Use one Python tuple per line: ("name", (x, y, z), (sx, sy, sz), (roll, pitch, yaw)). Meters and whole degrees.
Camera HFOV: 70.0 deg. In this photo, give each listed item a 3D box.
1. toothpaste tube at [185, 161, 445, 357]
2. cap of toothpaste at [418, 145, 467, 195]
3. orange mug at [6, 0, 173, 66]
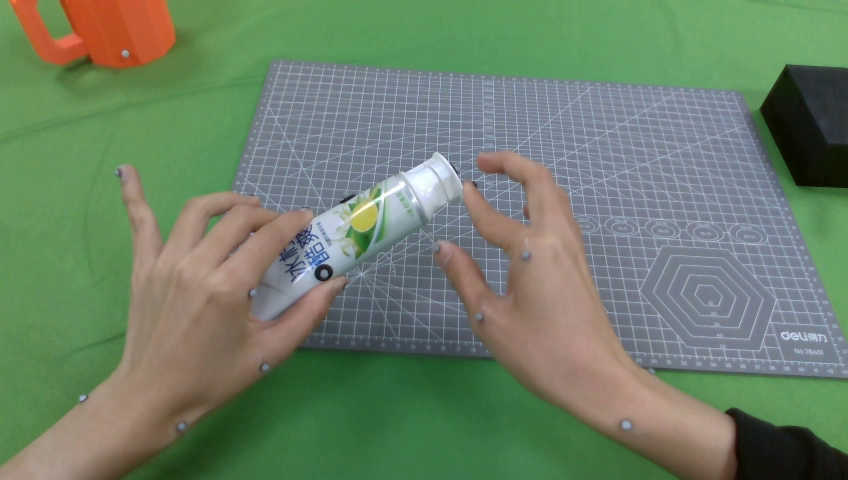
("toothpaste tube", (-0.059, 0.002, 0.355), (0.165, 0.035, 0.054), (-32, 58, -6))
("cap of toothpaste", (0.011, -0.040, 0.363), (0.011, 0.037, 0.037), (-40, 64, -17))
("orange mug", (-0.295, -0.214, 0.535), (0.083, 0.101, 0.126), (38, 55, 23))
